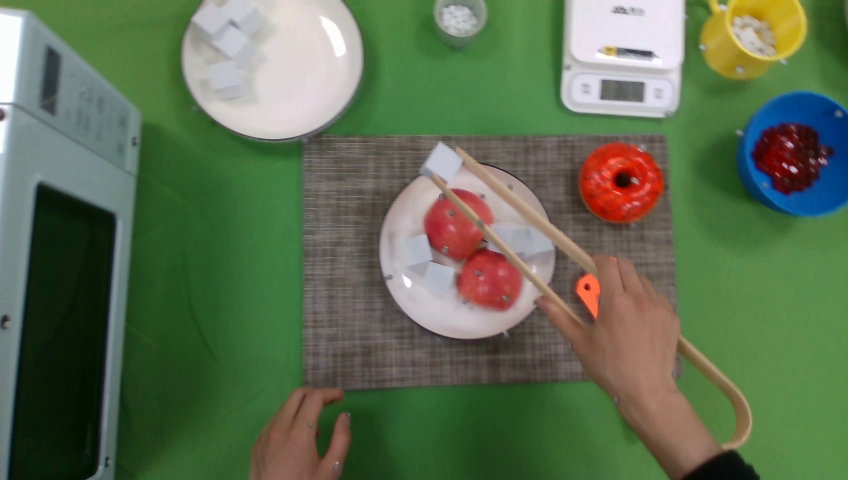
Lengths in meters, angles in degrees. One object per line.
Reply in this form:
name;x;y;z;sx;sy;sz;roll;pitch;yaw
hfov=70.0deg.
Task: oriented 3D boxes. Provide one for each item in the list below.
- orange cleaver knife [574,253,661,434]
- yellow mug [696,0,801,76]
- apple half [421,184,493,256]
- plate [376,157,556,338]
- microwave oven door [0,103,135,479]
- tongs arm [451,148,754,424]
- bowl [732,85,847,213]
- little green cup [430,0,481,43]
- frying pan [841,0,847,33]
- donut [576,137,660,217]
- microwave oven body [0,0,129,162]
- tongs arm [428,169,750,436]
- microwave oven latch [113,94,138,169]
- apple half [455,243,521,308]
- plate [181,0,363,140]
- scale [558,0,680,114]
orange cleaver knife;0.243;0.120;0.721;0.077;0.012;0.210;-19;84;-11
yellow mug;0.394;-0.278;0.755;0.100;0.064;0.130;-34;86;-7
apple half;0.038;-0.027;0.695;0.074;0.053;0.081;43;81;4
plate;0.048;0.008;0.707;0.209;0.038;0.208;1;84;-4
microwave oven door;-0.337;0.084;0.551;0.039;0.244;0.354;1;83;-4
tongs arm;0.169;0.036;0.603;0.386;0.028;0.028;42;72;10
bowl;0.434;-0.101;0.734;0.151;0.077;0.151;0;84;-4
little green cup;0.037;-0.274;0.741;0.061;0.038;0.061;1;83;-4
frying pan;0.720;-0.219;0.756;0.307;0.103;0.485;-28;79;-6
donut;0.232;-0.075;0.728;0.099;0.048;0.099;0;84;-2
microwave oven body;-0.483;0.039;0.549;0.326;0.260;0.440;2;84;-5
tongs arm;0.152;0.052;0.598;0.051;0.026;0.383;-41;79;-14
microwave oven latch;-0.338;-0.121;0.675;0.030;0.029;0.079;3;84;-5
apple half;0.076;0.039;0.700;0.081;0.033;0.081;0;86;0
plate;-0.176;-0.217;0.717;0.208;0.039;0.207;1;84;-5
scale;0.244;-0.261;0.759;0.149;0.031;0.200;3;84;-4
